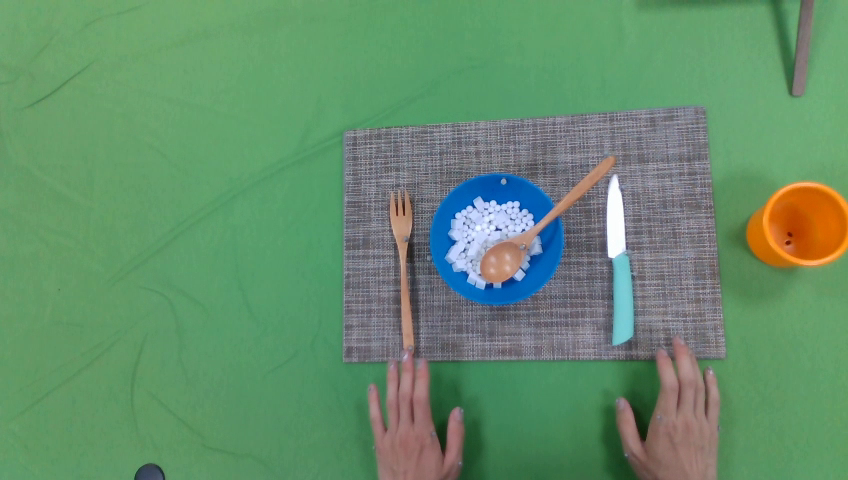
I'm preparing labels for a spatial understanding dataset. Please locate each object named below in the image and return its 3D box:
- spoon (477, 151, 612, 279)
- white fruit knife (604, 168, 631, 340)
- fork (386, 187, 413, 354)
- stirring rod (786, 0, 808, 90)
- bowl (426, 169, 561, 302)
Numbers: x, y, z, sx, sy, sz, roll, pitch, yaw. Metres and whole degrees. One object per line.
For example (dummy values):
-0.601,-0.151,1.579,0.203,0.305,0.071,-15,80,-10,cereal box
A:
0.133,-0.027,0.670,0.194,0.021,0.041,-44,83,19,spoon
0.228,0.014,0.717,0.027,0.016,0.206,0,81,-3,white fruit knife
-0.028,0.036,0.747,0.028,0.019,0.206,-4,79,-4,fork
0.440,-0.266,0.709,0.014,0.006,0.176,0,102,4,stirring rod
0.082,0.000,0.708,0.151,0.077,0.151,-1,81,8,bowl
